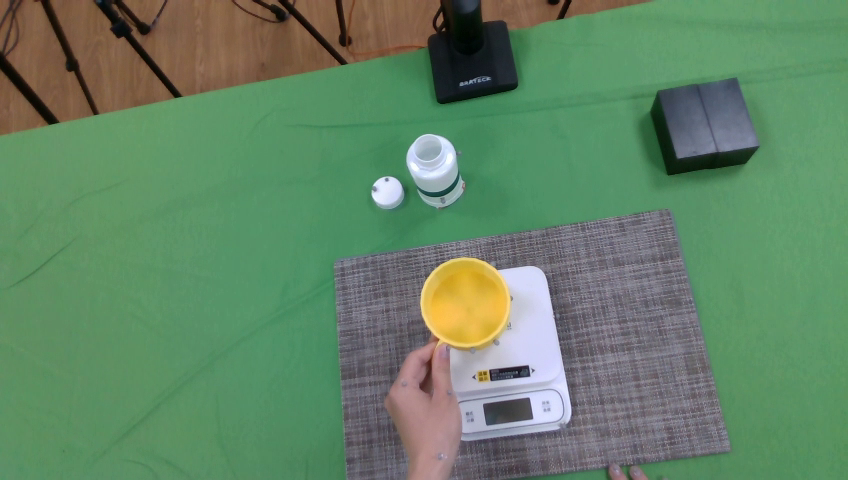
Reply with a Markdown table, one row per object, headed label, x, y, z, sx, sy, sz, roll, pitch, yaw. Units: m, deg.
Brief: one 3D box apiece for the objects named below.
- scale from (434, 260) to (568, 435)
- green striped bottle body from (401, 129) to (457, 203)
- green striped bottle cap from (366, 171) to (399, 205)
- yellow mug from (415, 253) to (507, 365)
| label | x | y | z | sx | sy | sz | roll | pitch | yaw |
| --- | --- | --- | --- | --- | --- | --- | --- | --- | --- |
| scale | 0.088 | 0.129 | 0.746 | 0.148 | 0.032 | 0.199 | -9 | 72 | 6 |
| green striped bottle body | 0.007 | -0.099 | 0.787 | 0.063 | 0.120 | 0.063 | -3 | 71 | 8 |
| green striped bottle cap | -0.057 | -0.073 | 0.844 | 0.044 | 0.020 | 0.044 | -1 | 78 | 6 |
| yellow mug | 0.037 | 0.083 | 0.686 | 0.099 | 0.064 | 0.130 | 27 | 82 | 12 |
